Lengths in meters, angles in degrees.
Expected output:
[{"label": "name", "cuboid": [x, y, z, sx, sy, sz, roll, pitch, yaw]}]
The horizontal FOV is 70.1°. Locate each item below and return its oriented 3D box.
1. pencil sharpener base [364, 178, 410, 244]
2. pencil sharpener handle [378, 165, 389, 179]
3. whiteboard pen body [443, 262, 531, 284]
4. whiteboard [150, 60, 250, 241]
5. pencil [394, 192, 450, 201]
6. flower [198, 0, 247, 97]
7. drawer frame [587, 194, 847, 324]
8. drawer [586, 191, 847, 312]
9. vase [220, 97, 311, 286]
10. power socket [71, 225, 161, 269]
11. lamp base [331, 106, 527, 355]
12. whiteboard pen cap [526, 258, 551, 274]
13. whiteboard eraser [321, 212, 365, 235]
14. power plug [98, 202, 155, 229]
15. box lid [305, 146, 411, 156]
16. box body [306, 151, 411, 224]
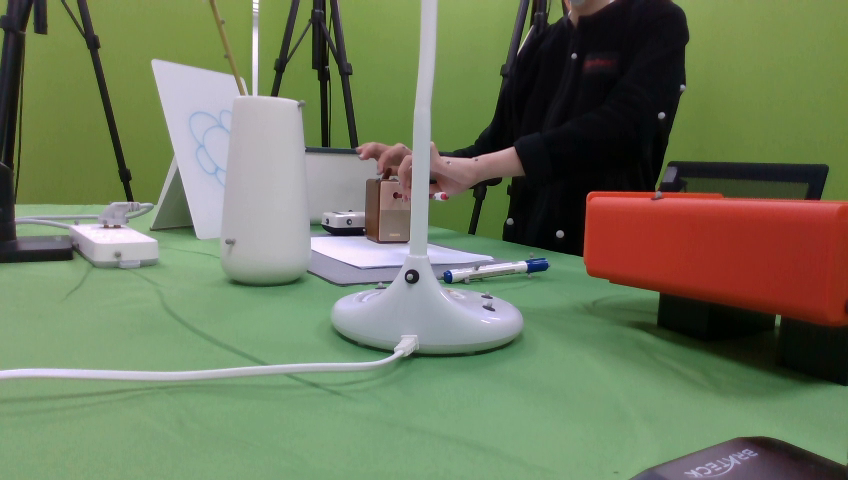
[{"label": "pencil sharpener base", "cuboid": [-0.062, -0.051, 1.031, 0.061, 0.107, 0.076, -1, 8, -25]}, {"label": "pencil sharpener handle", "cuboid": [-0.078, -0.100, 1.073, 0.036, 0.067, 0.030, 15, 1, -26]}, {"label": "whiteboard pen body", "cuboid": [0.088, 0.038, 0.734, 0.141, 0.017, 0.017, -5, 10, -27]}, {"label": "whiteboard", "cuboid": [-0.408, -0.139, 1.093, 0.143, 0.305, 0.218, -15, -1, 26]}, {"label": "pencil", "cuboid": [-0.012, -0.067, 0.932, 0.012, 0.012, 0.193, -2, 4, -28]}, {"label": "flower", "cuboid": [-0.187, -0.133, 0.648, 0.038, 0.362, 0.044, 0, 22, 43]}, {"label": "drawer frame", "cuboid": [0.285, 0.004, 0.508, 0.203, 0.082, 0.212, -1, 6, -29]}, {"label": "drawer", "cuboid": [0.281, 0.001, 0.513, 0.195, 0.073, 0.210, -1, 8, -29]}, {"label": "vase", "cuboid": [-0.172, -0.052, 0.662, 0.098, 0.200, 0.098, 3, 8, 0]}, {"label": "power socket", "cuboid": [-0.408, 0.004, 0.793, 0.072, 0.032, 0.225, -2, 8, -38]}, {"label": "lamp base", "cuboid": [0.006, -0.012, 0.478, 0.161, 0.180, 0.179, 2, 10, 2]}, {"label": "whiteboard pen cap", "cuboid": [0.141, 0.033, 0.759, 0.033, 0.018, 0.018, -8, 11, -26]}, {"label": "whiteboard eraser", "cuboid": [-0.128, -0.031, 1.108, 0.113, 0.042, 0.055, -3, 8, -38]}, {"label": "power plug", "cuboid": [-0.416, -0.027, 0.848, 0.073, 0.052, 0.035, 0, 8, -28]}, {"label": "box lid", "cuboid": [-0.229, -0.200, 1.360, 0.373, 0.015, 0.262, -3, 9, -32]}, {"label": "box body", "cuboid": [-0.230, -0.126, 1.371, 0.366, 0.160, 0.253, -2, 8, -33]}]
